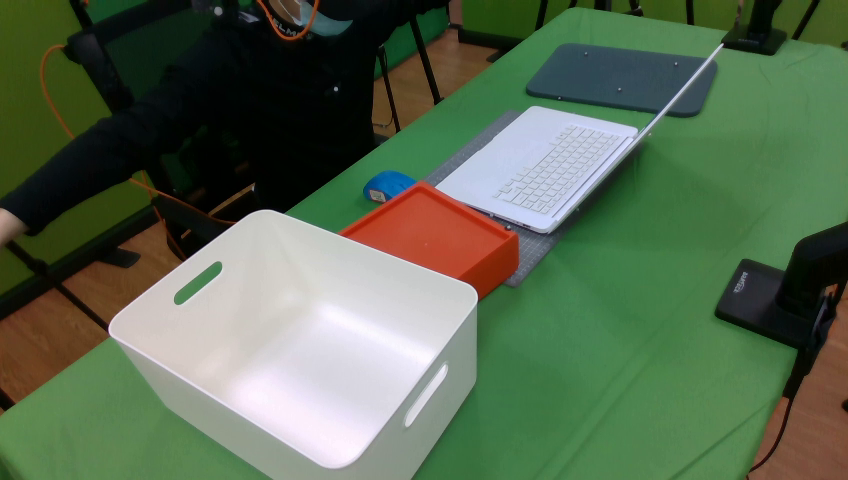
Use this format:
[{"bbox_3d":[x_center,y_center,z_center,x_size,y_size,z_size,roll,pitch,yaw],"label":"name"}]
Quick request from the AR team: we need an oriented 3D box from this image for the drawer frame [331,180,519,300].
[{"bbox_3d":[-0.003,0.020,0.901,0.202,0.083,0.211,-35,48,-28],"label":"drawer frame"}]

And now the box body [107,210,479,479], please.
[{"bbox_3d":[-0.140,0.136,0.725,0.361,0.161,0.254,19,47,28],"label":"box body"}]

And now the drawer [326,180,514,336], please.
[{"bbox_3d":[-0.004,0.019,0.902,0.195,0.073,0.210,-34,48,-27],"label":"drawer"}]

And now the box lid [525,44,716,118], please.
[{"bbox_3d":[0.432,-0.360,1.341,0.369,0.015,0.263,16,45,24],"label":"box lid"}]

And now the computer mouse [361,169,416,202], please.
[{"bbox_3d":[-0.053,-0.093,1.073,0.116,0.041,0.063,22,46,29],"label":"computer mouse"}]

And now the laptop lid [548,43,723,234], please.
[{"bbox_3d":[0.336,-0.160,0.956,0.013,0.241,0.358,43,54,8],"label":"laptop lid"}]

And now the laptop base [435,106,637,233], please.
[{"bbox_3d":[0.210,-0.142,1.111,0.233,0.023,0.355,21,48,33],"label":"laptop base"}]
